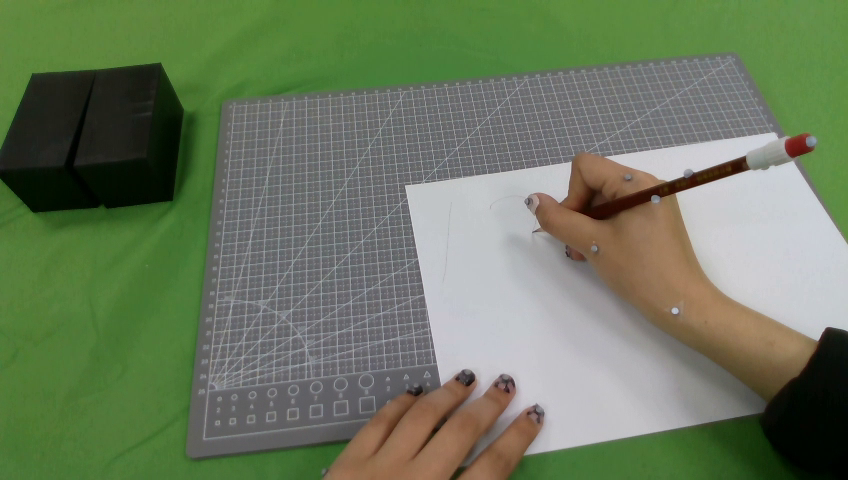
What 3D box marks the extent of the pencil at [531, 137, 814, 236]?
[{"bbox_3d":[0.125,-0.023,0.353,0.012,0.193,0.012,8,75,-29],"label":"pencil"}]
